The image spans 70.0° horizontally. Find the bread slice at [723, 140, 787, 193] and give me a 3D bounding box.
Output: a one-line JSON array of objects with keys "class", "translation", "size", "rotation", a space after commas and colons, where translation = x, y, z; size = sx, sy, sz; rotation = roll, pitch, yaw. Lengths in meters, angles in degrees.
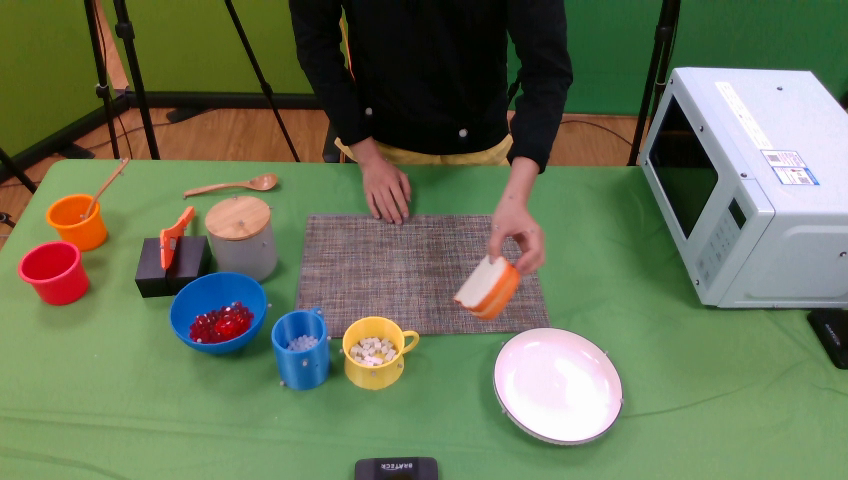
[{"class": "bread slice", "translation": [0.661, -0.147, 1.201], "size": [0.107, 0.018, 0.133], "rotation": [0, 53, 9]}]

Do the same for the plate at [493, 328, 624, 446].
[{"class": "plate", "translation": [0.213, 0.236, 0.974], "size": [0.208, 0.039, 0.206], "rotation": [2, 46, -2]}]

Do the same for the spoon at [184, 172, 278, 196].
[{"class": "spoon", "translation": [-0.405, -0.116, 1.275], "size": [0.194, 0.022, 0.041], "rotation": [-8, 66, -12]}]

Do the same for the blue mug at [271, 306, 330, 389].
[{"class": "blue mug", "translation": [-0.188, 0.163, 0.969], "size": [0.082, 0.106, 0.116], "rotation": [15, 47, 10]}]

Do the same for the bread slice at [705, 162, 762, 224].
[{"class": "bread slice", "translation": [0.650, -0.104, 1.263], "size": [0.105, 0.019, 0.131], "rotation": [13, 70, 10]}]

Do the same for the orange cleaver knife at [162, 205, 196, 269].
[{"class": "orange cleaver knife", "translation": [-0.454, -0.010, 1.129], "size": [0.012, 0.077, 0.210], "rotation": [-1, 20, -5]}]

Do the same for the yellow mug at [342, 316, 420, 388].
[{"class": "yellow mug", "translation": [-0.067, 0.177, 0.990], "size": [0.131, 0.064, 0.099], "rotation": [-15, 50, -19]}]

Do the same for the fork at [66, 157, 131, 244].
[{"class": "fork", "translation": [-0.608, -0.074, 1.132], "size": [0.207, 0.019, 0.028], "rotation": [-52, 48, 10]}]

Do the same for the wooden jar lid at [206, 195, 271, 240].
[{"class": "wooden jar lid", "translation": [-0.319, -0.036, 1.046], "size": [0.108, 0.021, 0.107], "rotation": [1, 44, 0]}]

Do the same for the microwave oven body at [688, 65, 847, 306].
[{"class": "microwave oven body", "translation": [0.669, -0.111, 1.176], "size": [0.326, 0.261, 0.439], "rotation": [0, 46, -3]}]

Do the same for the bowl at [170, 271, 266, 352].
[{"class": "bowl", "translation": [-0.333, 0.132, 1.006], "size": [0.151, 0.077, 0.150], "rotation": [2, 46, -2]}]

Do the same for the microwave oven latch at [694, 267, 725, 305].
[{"class": "microwave oven latch", "translation": [0.523, 0.082, 1.115], "size": [0.030, 0.029, 0.078], "rotation": [3, 46, 0]}]

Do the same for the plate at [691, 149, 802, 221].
[{"class": "plate", "translation": [0.652, -0.108, 1.238], "size": [0.209, 0.038, 0.208], "rotation": [-1, 46, 1]}]

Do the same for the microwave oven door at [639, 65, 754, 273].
[{"class": "microwave oven door", "translation": [0.522, -0.147, 1.193], "size": [0.039, 0.245, 0.353], "rotation": [0, 47, -3]}]

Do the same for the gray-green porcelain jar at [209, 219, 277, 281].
[{"class": "gray-green porcelain jar", "translation": [-0.323, 0.007, 1.092], "size": [0.106, 0.127, 0.105], "rotation": [2, 46, -2]}]

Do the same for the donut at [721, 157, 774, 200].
[{"class": "donut", "translation": [0.648, -0.123, 1.215], "size": [0.099, 0.048, 0.098], "rotation": [-3, 55, 5]}]
